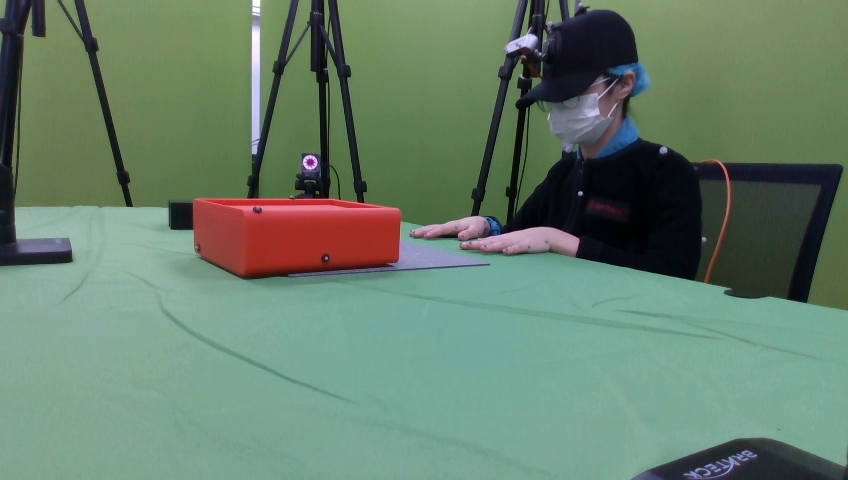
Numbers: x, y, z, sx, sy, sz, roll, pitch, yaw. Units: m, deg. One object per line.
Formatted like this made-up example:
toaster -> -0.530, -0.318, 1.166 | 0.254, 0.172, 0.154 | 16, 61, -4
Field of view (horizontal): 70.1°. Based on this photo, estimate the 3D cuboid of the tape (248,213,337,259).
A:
tape -> -0.176, -0.008, 0.814 | 0.117, 0.052, 0.117 | 3, 6, 0

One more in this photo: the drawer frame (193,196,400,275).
drawer frame -> -0.173, -0.014, 0.815 | 0.215, 0.082, 0.200 | -4, 10, -37

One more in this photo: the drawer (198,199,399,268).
drawer -> -0.171, -0.014, 0.818 | 0.213, 0.073, 0.193 | -4, 10, -36
